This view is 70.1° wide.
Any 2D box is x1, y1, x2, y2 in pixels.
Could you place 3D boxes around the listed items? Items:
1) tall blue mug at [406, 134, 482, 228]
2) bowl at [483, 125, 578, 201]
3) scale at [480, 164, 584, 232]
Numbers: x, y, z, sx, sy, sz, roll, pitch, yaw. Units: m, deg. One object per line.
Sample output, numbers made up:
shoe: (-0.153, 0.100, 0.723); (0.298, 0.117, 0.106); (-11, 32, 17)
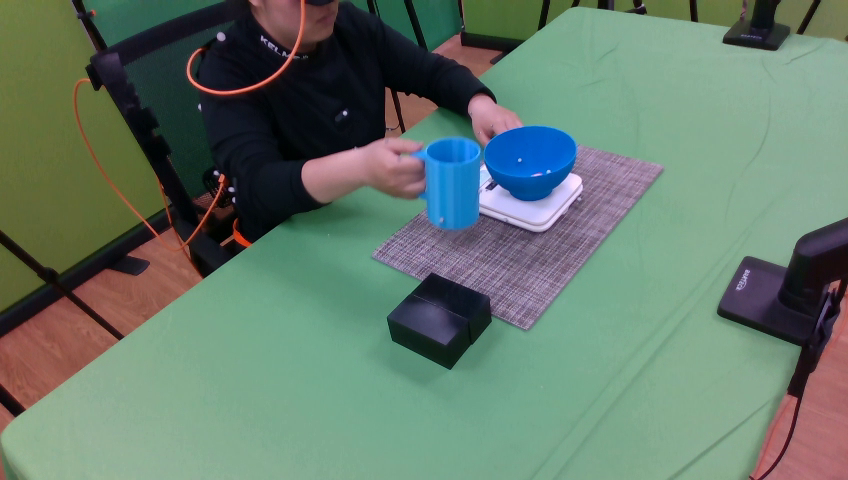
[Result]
tall blue mug: (0.026, -0.082, 0.843); (0.107, 0.108, 0.077); (1, 38, 3)
bowl: (0.175, -0.117, 0.991); (0.151, 0.077, 0.150); (-6, 41, 5)
scale: (0.156, -0.085, 1.040); (0.199, 0.032, 0.149); (22, 49, 32)
